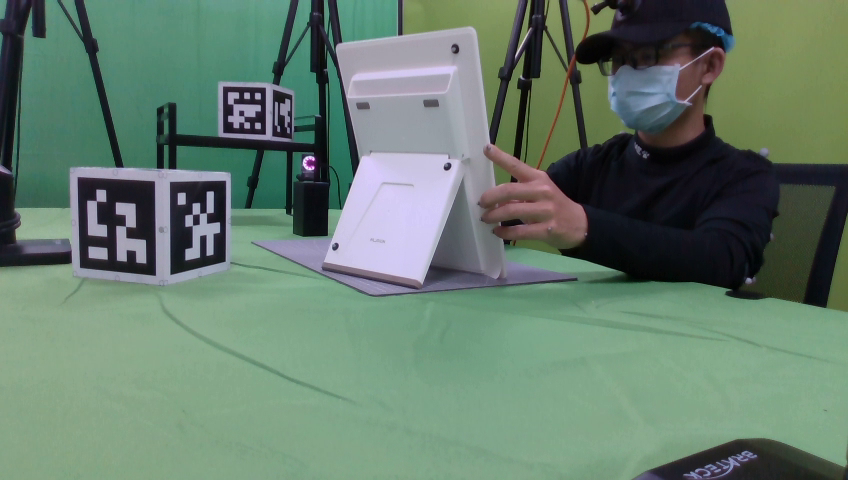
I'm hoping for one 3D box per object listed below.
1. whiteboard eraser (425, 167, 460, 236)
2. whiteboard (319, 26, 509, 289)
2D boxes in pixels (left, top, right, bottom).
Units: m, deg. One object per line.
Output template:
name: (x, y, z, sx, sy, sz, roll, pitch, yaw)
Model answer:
whiteboard eraser: (0.024, -0.050, 0.790, 0.041, 0.101, 0.019, 26, 44, 22)
whiteboard: (-0.046, -0.076, 0.720, 0.216, 0.305, 0.144, 9, 29, 39)
